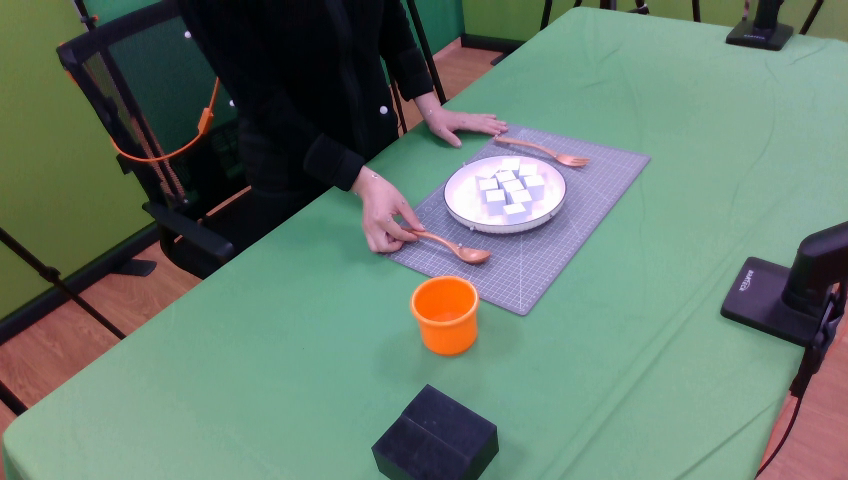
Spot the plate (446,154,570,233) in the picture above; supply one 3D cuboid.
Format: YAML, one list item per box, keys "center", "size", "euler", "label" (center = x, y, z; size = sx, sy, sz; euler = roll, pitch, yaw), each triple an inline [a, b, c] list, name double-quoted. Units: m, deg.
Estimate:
- center: [0.142, -0.076, 1.033]
  size: [0.207, 0.039, 0.206]
  euler: [-5, 40, 5]
  label: "plate"

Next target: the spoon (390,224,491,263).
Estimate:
- center: [0.023, 0.001, 0.973]
  size: [0.192, 0.022, 0.042]
  euler: [23, 36, 30]
  label: "spoon"

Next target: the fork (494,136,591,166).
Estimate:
- center: [0.219, -0.171, 1.144]
  size: [0.205, 0.019, 0.028]
  euler: [24, 56, 31]
  label: "fork"
